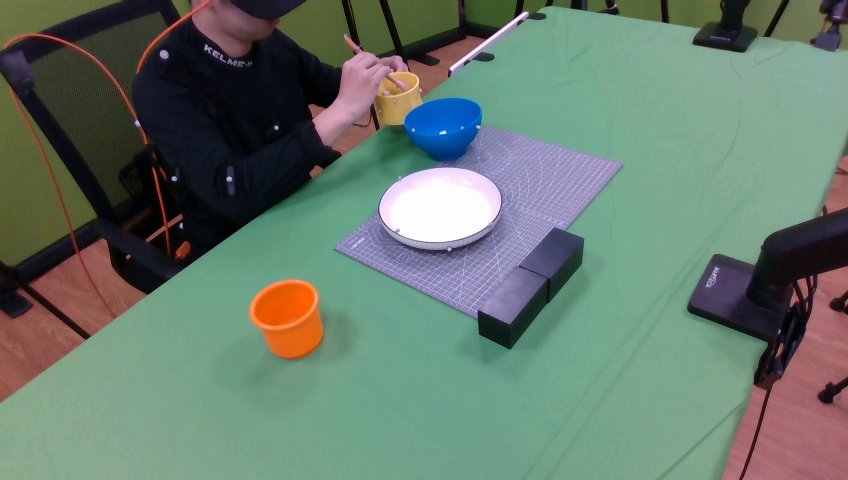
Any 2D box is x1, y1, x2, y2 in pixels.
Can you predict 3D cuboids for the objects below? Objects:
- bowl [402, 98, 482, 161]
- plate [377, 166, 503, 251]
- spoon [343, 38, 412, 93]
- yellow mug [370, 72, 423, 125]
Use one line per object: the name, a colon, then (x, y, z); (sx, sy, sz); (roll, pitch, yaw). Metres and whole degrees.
bowl: (0.040, -0.203, 1.154); (0.151, 0.077, 0.150); (-7, 37, 6)
plate: (0.027, -0.050, 1.007); (0.209, 0.038, 0.208); (-4, 41, 4)
spoon: (-0.081, -0.326, 1.176); (0.021, 0.195, 0.041); (-34, 36, 38)
yellow mug: (-0.055, -0.296, 1.234); (0.100, 0.064, 0.130); (-12, 41, 1)
